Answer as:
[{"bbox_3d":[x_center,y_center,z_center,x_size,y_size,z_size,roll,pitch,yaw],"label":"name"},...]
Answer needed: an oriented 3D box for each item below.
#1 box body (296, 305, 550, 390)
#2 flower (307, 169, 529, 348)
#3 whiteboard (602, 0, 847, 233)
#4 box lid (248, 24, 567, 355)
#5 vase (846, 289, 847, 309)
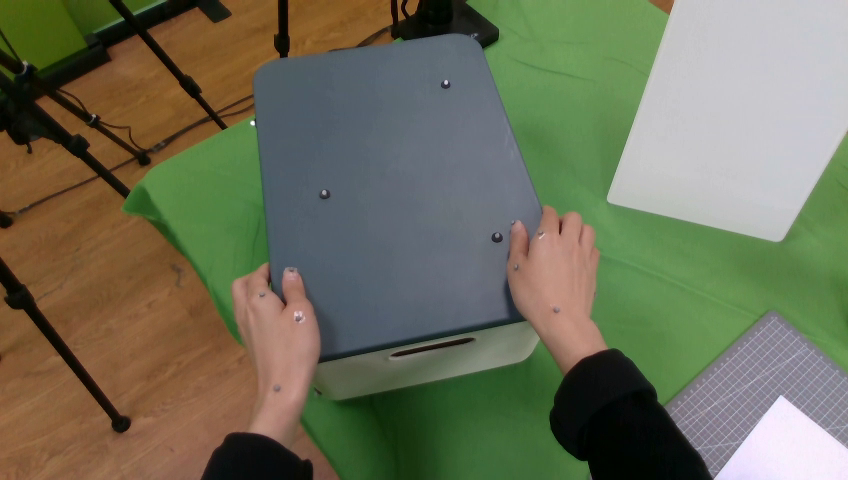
[{"bbox_3d":[-0.032,-0.039,0.669,0.254,0.161,0.360,-11,60,-6],"label":"box body"},{"bbox_3d":[-0.025,0.005,0.724,0.358,0.038,0.044,37,97,26],"label":"flower"},{"bbox_3d":[0.364,-0.190,0.713,0.217,0.308,0.143,15,41,9],"label":"whiteboard"},{"bbox_3d":[-0.033,-0.078,0.606,0.264,0.015,0.367,-11,60,-7],"label":"box lid"},{"bbox_3d":[0.522,0.033,0.608,0.098,0.201,0.097,0,58,0],"label":"vase"}]
